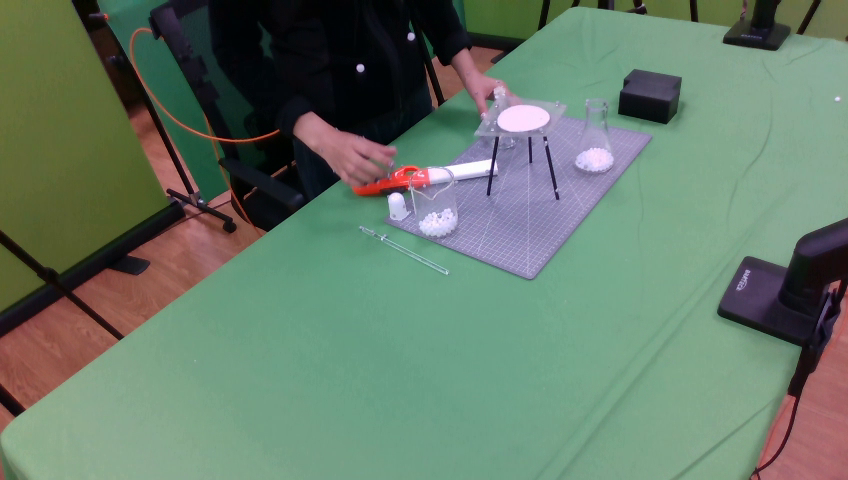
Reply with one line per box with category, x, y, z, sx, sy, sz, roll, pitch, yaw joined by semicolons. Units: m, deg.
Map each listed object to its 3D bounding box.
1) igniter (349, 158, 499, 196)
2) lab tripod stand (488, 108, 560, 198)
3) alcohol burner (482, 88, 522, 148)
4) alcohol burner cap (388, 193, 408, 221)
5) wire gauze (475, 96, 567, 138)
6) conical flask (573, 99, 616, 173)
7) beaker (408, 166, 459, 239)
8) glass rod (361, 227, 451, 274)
igniter;-0.001;-0.117;1.117;0.276;0.025;0.057;-9;57;2
lab tripod stand;0.173;-0.150;1.037;0.148;0.132;0.147;-6;38;6
alcohol burner;0.149;-0.237;1.160;0.078;0.119;0.077;-4;39;4
alcohol burner cap;-0.047;-0.059;1.043;0.034;0.048;0.033;-6;41;5
wire gauze;0.161;-0.201;0.994;0.121;0.011;0.125;11;43;23
conical flask;0.302;-0.184;1.061;0.075;0.122;0.075;-5;40;5
beaker;0.018;-0.057;0.984;0.074;0.101;0.083;-6;41;5
glass rod;-0.033;0.014;0.985;0.198;0.008;0.008;25;52;34
